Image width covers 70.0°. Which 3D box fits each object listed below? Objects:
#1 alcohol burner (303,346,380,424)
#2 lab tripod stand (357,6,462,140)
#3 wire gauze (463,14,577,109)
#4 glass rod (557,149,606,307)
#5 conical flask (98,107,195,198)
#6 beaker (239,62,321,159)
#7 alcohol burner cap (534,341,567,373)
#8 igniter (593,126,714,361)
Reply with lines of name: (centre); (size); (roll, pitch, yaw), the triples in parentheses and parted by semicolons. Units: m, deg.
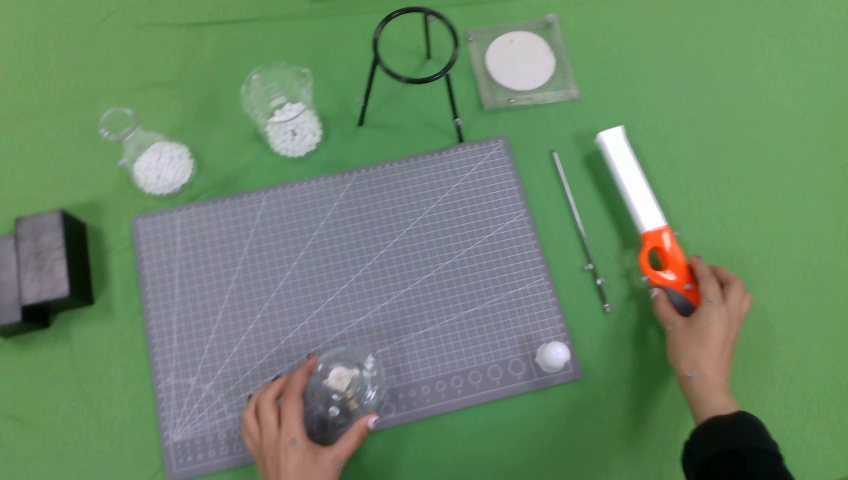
alcohol burner: (-0.083, 0.141, 0.598); (0.078, 0.119, 0.077); (1, 72, -2)
lab tripod stand: (-0.012, -0.182, 0.684); (0.148, 0.132, 0.147); (0, 76, 0)
wire gauze: (0.121, -0.224, 0.763); (0.125, 0.011, 0.121); (-8, 75, -5)
glass rod: (0.183, -0.018, 0.709); (0.008, 0.008, 0.198); (-10, 73, -4)
conical flask: (-0.306, -0.100, 0.660); (0.075, 0.122, 0.075); (0, 73, -1)
beaker: (-0.156, -0.143, 0.688); (0.084, 0.101, 0.073); (-40, 78, -12)
alcohol burner cap: (0.136, 0.122, 0.645); (0.034, 0.048, 0.033); (0, 73, 0)
igniter: (0.256, -0.001, 0.679); (0.057, 0.025, 0.275); (-17, 77, -8)
